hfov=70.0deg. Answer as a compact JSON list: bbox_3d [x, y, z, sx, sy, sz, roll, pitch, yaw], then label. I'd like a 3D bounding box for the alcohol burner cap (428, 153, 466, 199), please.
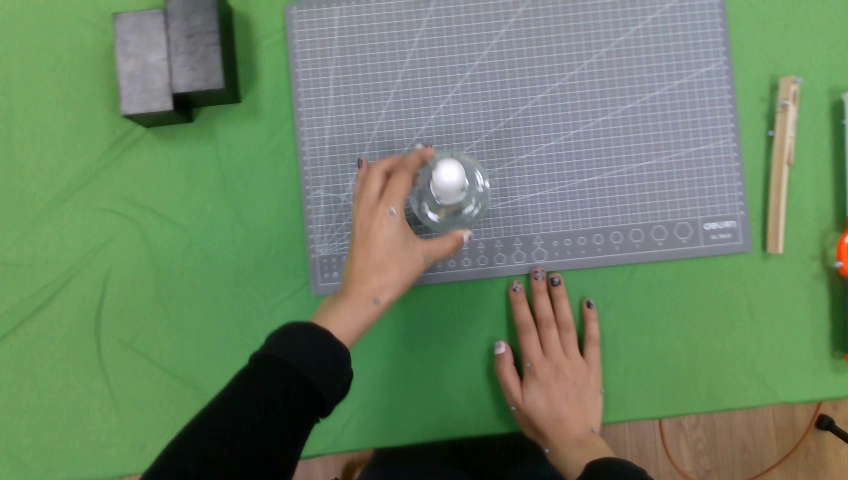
[{"bbox_3d":[0.019,-0.056,0.515,0.034,0.048,0.033,0,79,2],"label":"alcohol burner cap"}]

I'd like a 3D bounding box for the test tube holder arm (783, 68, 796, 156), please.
[{"bbox_3d":[0.366,-0.129,0.616,0.010,0.015,0.088,6,90,-34],"label":"test tube holder arm"}]

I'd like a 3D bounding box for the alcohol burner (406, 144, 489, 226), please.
[{"bbox_3d":[0.022,-0.053,0.550,0.078,0.119,0.077,0,84,2],"label":"alcohol burner"}]

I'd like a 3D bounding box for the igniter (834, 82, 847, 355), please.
[{"bbox_3d":[0.438,-0.021,0.608,0.057,0.025,0.276,-1,89,-10],"label":"igniter"}]

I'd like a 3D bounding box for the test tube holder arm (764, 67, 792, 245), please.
[{"bbox_3d":[0.358,-0.084,0.613,0.013,0.015,0.178,4,91,-34],"label":"test tube holder arm"}]
